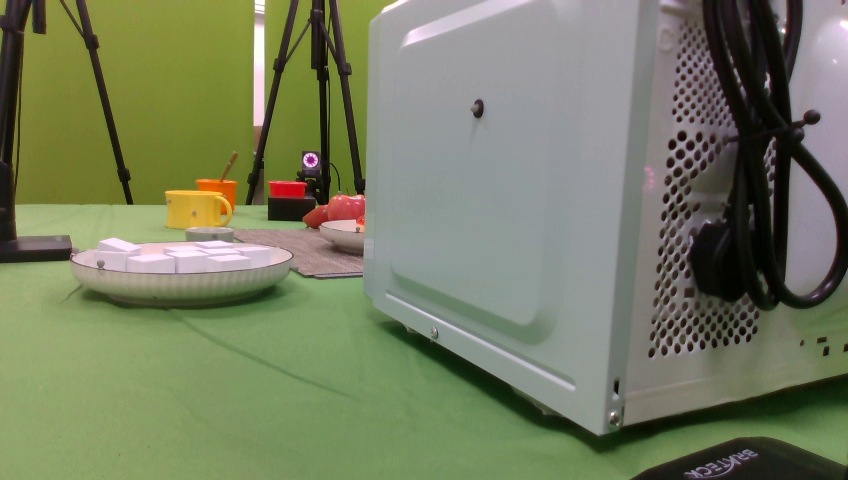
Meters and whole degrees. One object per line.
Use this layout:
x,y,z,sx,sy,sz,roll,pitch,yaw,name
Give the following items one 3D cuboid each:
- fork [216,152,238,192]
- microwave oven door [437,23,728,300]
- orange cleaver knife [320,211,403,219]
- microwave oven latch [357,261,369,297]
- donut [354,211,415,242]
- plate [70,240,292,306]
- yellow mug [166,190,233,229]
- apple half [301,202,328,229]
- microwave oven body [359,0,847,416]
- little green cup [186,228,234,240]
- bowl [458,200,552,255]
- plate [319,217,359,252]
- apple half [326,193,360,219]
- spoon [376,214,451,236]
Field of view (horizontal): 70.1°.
-0.455,-0.132,1.367,0.028,0.018,0.207,-2,-35,-37,fork
0.181,-0.072,0.621,0.358,0.243,0.039,-2,9,-29,microwave oven door
-0.142,-0.057,1.395,0.077,0.012,0.212,3,7,44,orange cleaver knife
-0.019,0.033,0.531,0.079,0.029,0.030,-1,7,-27,microwave oven latch
-0.062,-0.020,0.955,0.099,0.048,0.099,4,7,0,donut
-0.242,0.032,0.618,0.208,0.039,0.207,2,8,0,plate
-0.415,-0.057,1.132,0.130,0.064,0.100,6,8,16,yellow mug
-0.195,-0.043,1.173,0.081,0.032,0.081,-22,-16,-6,apple half
0.211,-0.047,0.474,0.444,0.260,0.324,-1,7,-28,microwave oven body
-0.284,0.005,0.805,0.061,0.038,0.061,2,8,0,little green cup
0.128,-0.020,0.977,0.151,0.077,0.151,2,8,0,bowl
-0.059,-0.007,0.939,0.209,0.038,0.209,3,8,0,plate
-0.135,-0.047,1.090,0.081,0.074,0.053,5,10,-12,apple half
-0.025,-0.032,1.179,0.192,0.021,0.042,19,22,41,spoon
